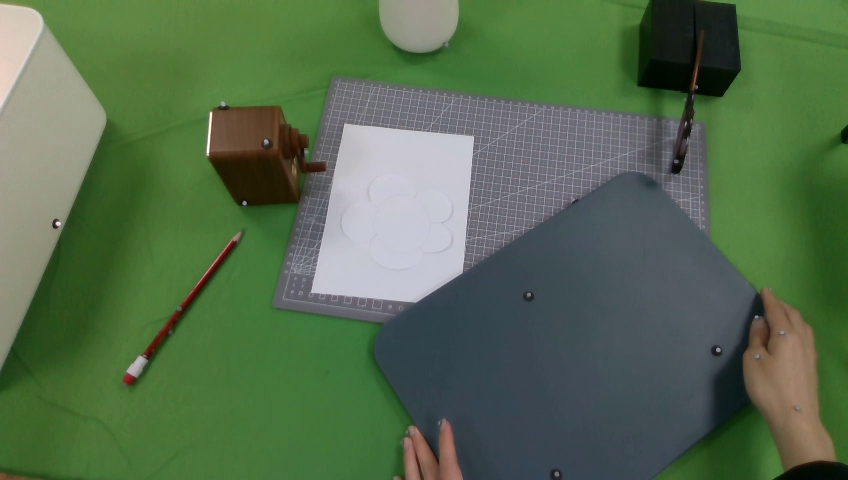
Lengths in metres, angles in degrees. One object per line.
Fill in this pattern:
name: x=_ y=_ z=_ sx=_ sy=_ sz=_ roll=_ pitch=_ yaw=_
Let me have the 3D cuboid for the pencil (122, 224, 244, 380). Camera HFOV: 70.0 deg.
pencil: x=-0.245 y=0.059 z=0.627 sx=0.012 sy=0.012 sz=0.193 roll=27 pitch=68 yaw=11

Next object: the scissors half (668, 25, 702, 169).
scissors half: x=0.298 y=-0.163 z=0.687 sx=0.012 sy=0.040 sz=0.175 roll=12 pitch=85 yaw=20

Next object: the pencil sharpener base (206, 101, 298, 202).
pencil sharpener base: x=-0.173 y=-0.091 z=0.637 sx=0.077 sy=0.108 sz=0.061 roll=-4 pitch=66 yaw=-2

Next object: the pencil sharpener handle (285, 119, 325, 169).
pencil sharpener handle: x=-0.122 y=-0.098 z=0.627 sx=0.031 sy=0.068 sz=0.035 roll=-4 pitch=60 yaw=-2

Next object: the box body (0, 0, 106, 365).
box body: x=-0.509 y=-0.049 z=0.587 sx=0.254 sy=0.161 sz=0.361 roll=8 pitch=67 yaw=3

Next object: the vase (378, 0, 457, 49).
vase: x=-0.009 y=-0.313 z=0.682 sx=0.098 sy=0.201 sz=0.097 roll=0 pitch=66 yaw=1

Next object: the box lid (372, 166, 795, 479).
box lid: x=0.161 y=0.100 z=0.610 sx=0.371 sy=0.015 sz=0.261 roll=-32 pitch=72 yaw=-12

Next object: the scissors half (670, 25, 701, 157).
scissors half: x=0.293 y=-0.169 z=0.668 sx=0.013 sy=0.040 sz=0.174 roll=13 pitch=68 yaw=15

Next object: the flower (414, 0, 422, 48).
flower: x=-0.015 y=-0.359 z=0.611 sx=0.044 sy=0.365 sz=0.038 roll=1 pitch=49 yaw=4
